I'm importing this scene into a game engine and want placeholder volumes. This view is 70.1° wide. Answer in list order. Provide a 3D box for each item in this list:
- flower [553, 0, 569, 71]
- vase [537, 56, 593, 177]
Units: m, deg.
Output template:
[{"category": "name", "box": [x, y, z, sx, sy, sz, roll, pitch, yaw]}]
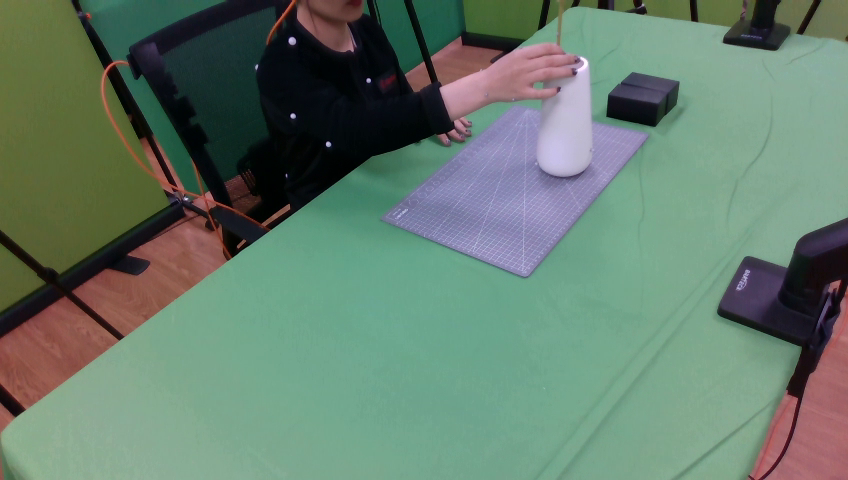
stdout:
[{"category": "flower", "box": [0.213, -0.279, 0.984, 0.038, 0.363, 0.044, 20, 58, 21]}, {"category": "vase", "box": [0.245, -0.209, 1.040, 0.098, 0.201, 0.097, -4, 40, 4]}]
